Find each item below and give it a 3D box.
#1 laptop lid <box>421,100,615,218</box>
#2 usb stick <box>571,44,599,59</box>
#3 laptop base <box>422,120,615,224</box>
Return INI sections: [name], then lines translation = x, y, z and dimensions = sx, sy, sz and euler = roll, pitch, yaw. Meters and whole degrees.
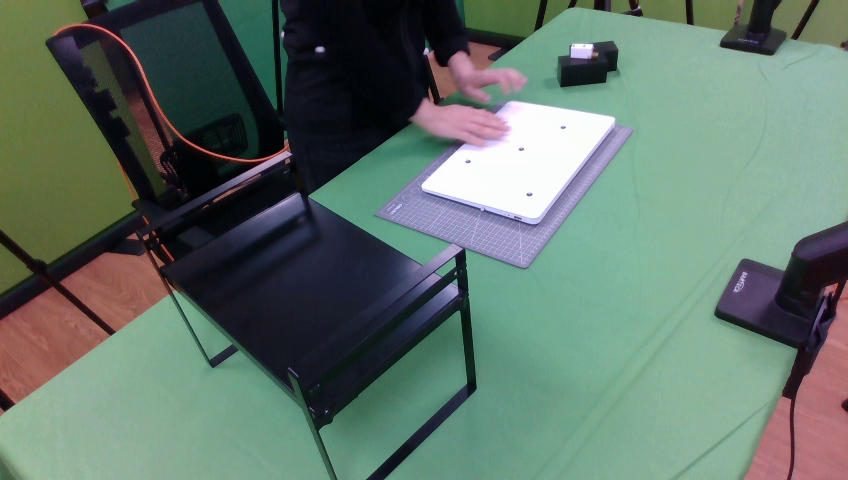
[laptop lid]
translation = 0.182, -0.167, 1.126
dimensions = 0.240, 0.013, 0.357
euler = 19, 47, 31
[usb stick]
translation = 0.352, -0.412, 1.322
dimensions = 0.059, 0.027, 0.021
euler = 13, 44, 19
[laptop base]
translation = 0.185, -0.158, 1.133
dimensions = 0.234, 0.023, 0.355
euler = 17, 46, 30
